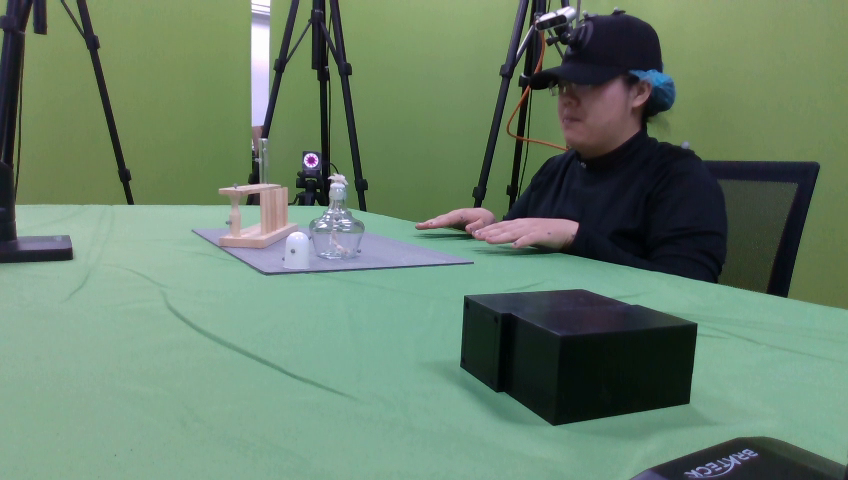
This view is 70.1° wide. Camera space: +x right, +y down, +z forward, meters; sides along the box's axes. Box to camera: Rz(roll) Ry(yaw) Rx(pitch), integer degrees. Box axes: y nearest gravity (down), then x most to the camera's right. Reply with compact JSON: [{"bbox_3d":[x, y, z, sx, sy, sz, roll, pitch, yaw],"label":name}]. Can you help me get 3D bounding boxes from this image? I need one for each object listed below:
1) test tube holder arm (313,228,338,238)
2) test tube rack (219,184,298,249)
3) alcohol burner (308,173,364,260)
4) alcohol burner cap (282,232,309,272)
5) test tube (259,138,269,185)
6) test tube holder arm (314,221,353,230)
[{"bbox_3d":[-0.177,-0.016,1.094,0.015,0.010,0.088,9,13,11],"label":"test tube holder arm"},{"bbox_3d":[-0.266,-0.046,1.002,0.067,0.085,0.242,3,7,0],"label":"test tube rack"},{"bbox_3d":[-0.121,-0.033,0.841,0.078,0.119,0.078,3,5,0],"label":"alcohol burner"},{"bbox_3d":[-0.157,0.014,0.740,0.034,0.048,0.034,2,6,0],"label":"alcohol burner cap"},{"bbox_3d":[-0.281,-0.104,1.064,0.017,0.150,0.017,2,12,0],"label":"test tube"},{"bbox_3d":[-0.167,-0.027,1.137,0.015,0.013,0.179,10,7,11],"label":"test tube holder arm"}]
